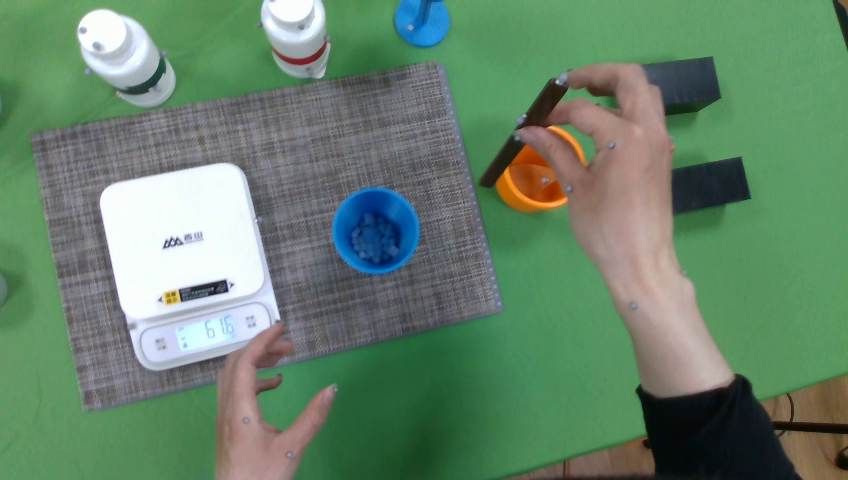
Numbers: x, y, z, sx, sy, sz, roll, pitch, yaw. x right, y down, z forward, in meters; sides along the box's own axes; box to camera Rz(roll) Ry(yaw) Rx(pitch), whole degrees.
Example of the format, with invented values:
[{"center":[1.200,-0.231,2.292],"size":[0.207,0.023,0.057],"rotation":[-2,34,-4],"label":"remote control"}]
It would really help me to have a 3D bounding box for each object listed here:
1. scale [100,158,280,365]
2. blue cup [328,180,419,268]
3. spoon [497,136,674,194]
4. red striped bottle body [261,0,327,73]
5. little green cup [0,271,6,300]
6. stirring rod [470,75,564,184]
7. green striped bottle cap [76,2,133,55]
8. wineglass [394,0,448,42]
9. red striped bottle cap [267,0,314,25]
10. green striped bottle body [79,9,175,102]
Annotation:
[{"center":[-0.245,0.021,0.638],"size":[0.149,0.031,0.200],"rotation":[-13,87,-8],"label":"scale"},{"center":[-0.052,-0.011,0.630],"size":[0.093,0.100,0.092],"rotation":[1,85,-6],"label":"blue cup"},{"center":[0.165,-0.081,0.645],"size":[0.022,0.193,0.041],"rotation":[-12,92,-52],"label":"spoon"},{"center":[-0.134,-0.226,0.634],"size":[0.063,0.119,0.063],"rotation":[1,84,-8],"label":"red striped bottle body"},{"center":[-0.458,0.046,0.608],"size":[0.062,0.038,0.061],"rotation":[1,84,-8],"label":"little green cup"},{"center":[0.064,-0.076,0.456],"size":[0.014,0.176,0.006],"rotation":[12,72,-8],"label":"stirring rod"},{"center":[-0.292,-0.194,0.554],"size":[0.044,0.020,0.044],"rotation":[1,84,-6],"label":"green striped bottle cap"},{"center":[0.006,-0.273,0.629],"size":[0.074,0.172,0.073],"rotation":[1,84,-7],"label":"wineglass"},{"center":[-0.128,-0.231,0.581],"size":[0.044,0.018,0.044],"rotation":[1,83,-7],"label":"red striped bottle cap"},{"center":[-0.298,-0.187,0.609],"size":[0.063,0.119,0.063],"rotation":[1,84,-7],"label":"green striped bottle body"}]
